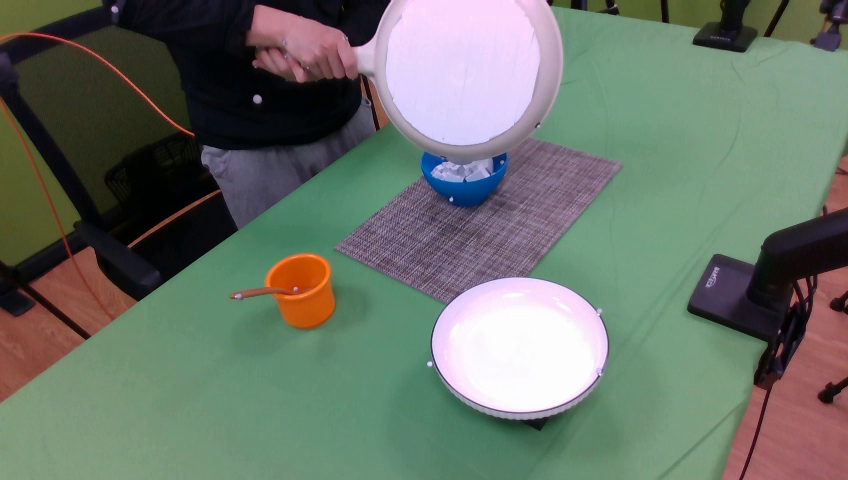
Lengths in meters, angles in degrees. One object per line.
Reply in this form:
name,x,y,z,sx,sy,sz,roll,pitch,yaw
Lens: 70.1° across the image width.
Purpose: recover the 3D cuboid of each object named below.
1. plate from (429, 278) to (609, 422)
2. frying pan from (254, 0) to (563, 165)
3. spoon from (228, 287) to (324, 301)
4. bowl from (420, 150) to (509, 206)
plate,0.111,0.129,0.716,0.207,0.039,0.206,-5,39,4
frying pan,-0.040,-0.271,0.925,0.486,0.307,0.103,8,19,16
spoon,-0.197,0.071,0.816,0.041,0.195,0.021,12,88,23
bowl,0.071,-0.112,1.038,0.151,0.077,0.150,-4,40,4
